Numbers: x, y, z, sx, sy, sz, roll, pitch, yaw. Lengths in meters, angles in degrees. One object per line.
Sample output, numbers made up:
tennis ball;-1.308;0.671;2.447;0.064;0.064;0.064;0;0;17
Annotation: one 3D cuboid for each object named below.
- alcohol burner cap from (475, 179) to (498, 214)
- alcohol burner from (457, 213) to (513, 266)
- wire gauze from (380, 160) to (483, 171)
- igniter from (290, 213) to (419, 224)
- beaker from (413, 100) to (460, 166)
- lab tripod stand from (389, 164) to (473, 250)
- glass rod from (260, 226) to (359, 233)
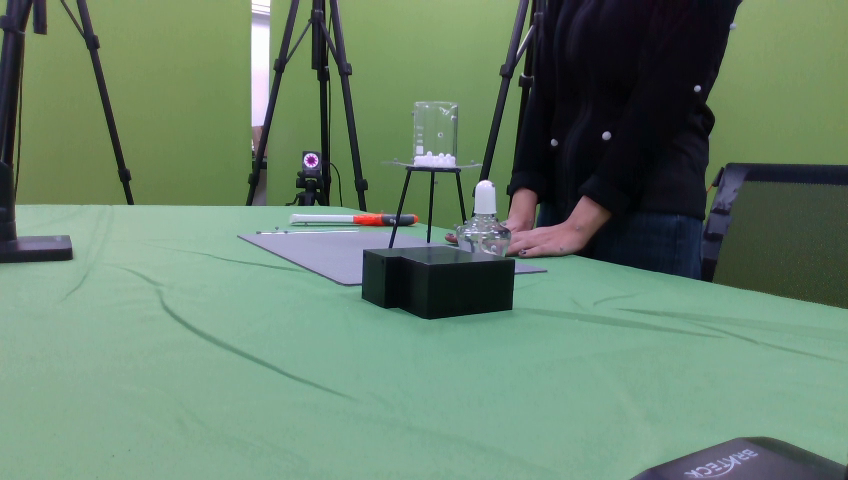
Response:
alcohol burner cap;0.086;-0.061;0.833;0.034;0.048;0.034;-1;11;0
alcohol burner;0.085;-0.025;0.837;0.078;0.119;0.078;0;8;0
wire gauze;0.011;-0.119;0.951;0.122;0.011;0.124;-5;12;-32
igniter;-0.143;-0.046;1.288;0.278;0.025;0.057;-1;-3;-24
beaker;0.020;-0.167;0.953;0.073;0.100;0.084;6;9;26
lab tripod stand;0.011;-0.054;0.960;0.148;0.131;0.148;2;9;0
glass rod;-0.211;-0.020;1.137;0.201;0.008;0.008;-3;9;-35
